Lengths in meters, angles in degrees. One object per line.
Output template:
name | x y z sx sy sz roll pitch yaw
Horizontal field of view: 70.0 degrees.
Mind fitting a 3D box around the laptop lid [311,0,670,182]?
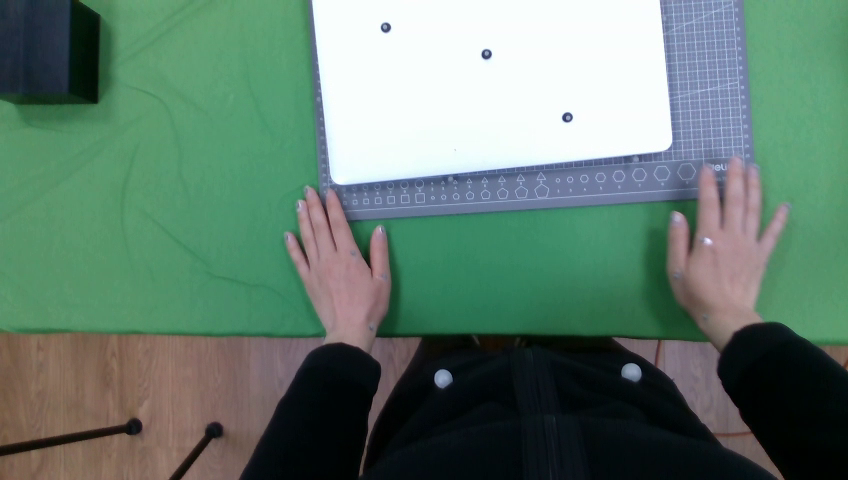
laptop lid | 0.064 -0.192 0.619 0.356 0.013 0.241 -4 92 4

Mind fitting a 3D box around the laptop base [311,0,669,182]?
laptop base | 0.065 -0.194 0.631 0.354 0.023 0.235 -6 92 4
